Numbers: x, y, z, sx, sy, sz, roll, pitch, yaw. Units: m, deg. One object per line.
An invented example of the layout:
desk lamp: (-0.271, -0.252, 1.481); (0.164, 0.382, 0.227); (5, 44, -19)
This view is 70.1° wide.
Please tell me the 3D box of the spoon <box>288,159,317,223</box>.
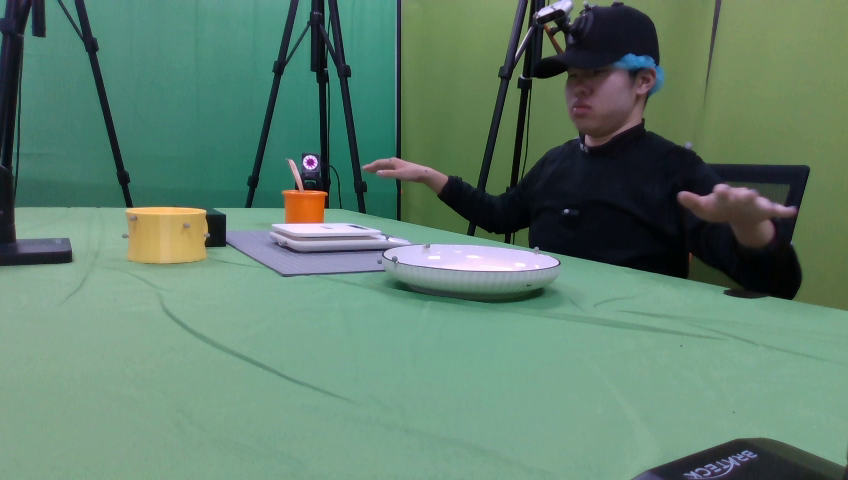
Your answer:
spoon: (-0.259, -0.103, 1.268); (0.042, 0.193, 0.021); (3, -39, -33)

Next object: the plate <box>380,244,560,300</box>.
plate: (0.053, 0.036, 0.708); (0.209, 0.038, 0.209); (2, 7, 0)

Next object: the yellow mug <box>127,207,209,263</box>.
yellow mug: (-0.339, -0.010, 0.827); (0.100, 0.064, 0.131); (5, 7, 17)

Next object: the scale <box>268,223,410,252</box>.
scale: (-0.137, -0.006, 0.980); (0.202, 0.031, 0.148); (-1, 8, -30)
